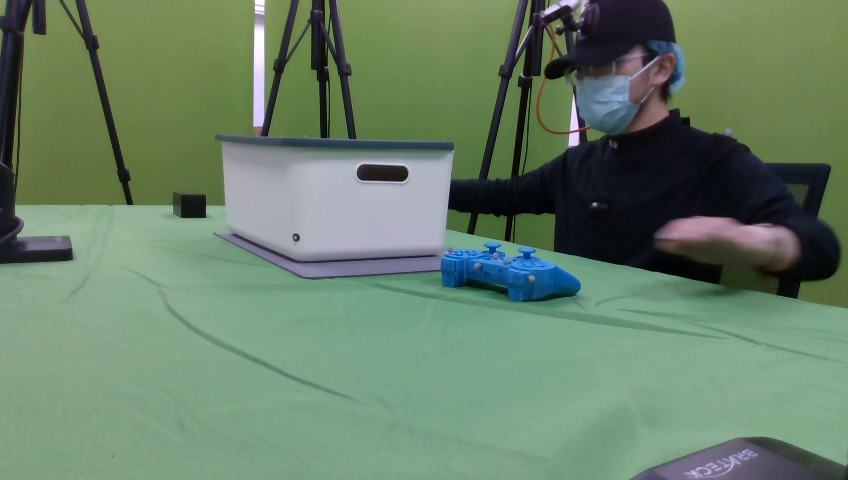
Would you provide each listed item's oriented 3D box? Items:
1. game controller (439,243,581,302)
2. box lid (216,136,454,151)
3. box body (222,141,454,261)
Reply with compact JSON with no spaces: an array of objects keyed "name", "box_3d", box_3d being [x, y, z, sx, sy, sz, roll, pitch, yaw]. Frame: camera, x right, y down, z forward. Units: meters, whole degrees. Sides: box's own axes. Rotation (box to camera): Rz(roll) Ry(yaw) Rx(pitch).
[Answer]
[{"name":"game controller","box_3d":[0.090,0.033,0.686,0.154,0.051,0.097,8,13,42]},{"name":"box lid","box_3d":[-0.151,-0.149,0.941,0.265,0.015,0.369,-4,10,-32]},{"name":"box body","box_3d":[-0.152,-0.074,0.963,0.255,0.160,0.362,-3,9,-33]}]
